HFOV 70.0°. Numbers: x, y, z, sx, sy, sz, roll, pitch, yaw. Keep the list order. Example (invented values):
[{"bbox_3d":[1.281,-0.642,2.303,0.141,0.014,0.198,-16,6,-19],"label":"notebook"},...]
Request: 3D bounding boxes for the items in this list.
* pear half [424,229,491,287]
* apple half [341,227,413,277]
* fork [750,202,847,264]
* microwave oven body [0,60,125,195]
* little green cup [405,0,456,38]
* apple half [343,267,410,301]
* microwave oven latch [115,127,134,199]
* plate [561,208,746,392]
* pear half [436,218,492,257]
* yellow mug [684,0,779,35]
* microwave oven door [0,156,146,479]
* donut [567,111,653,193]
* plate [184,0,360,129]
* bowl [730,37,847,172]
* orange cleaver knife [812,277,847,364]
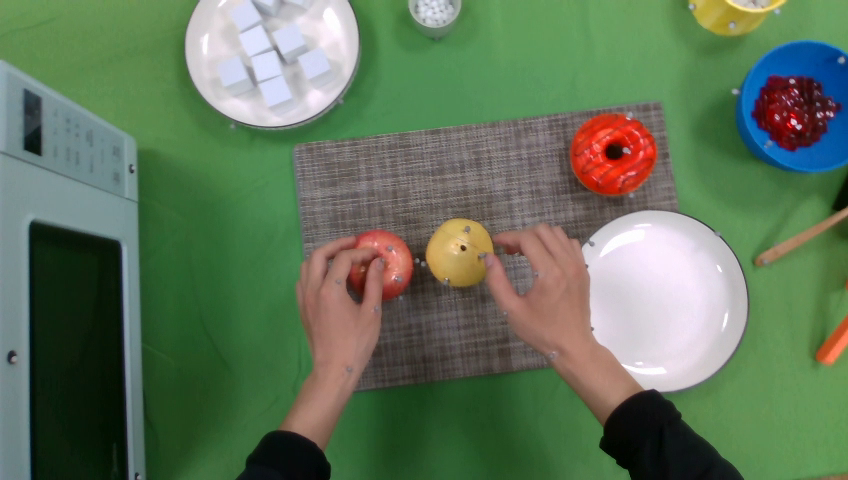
[{"bbox_3d":[0.033,0.023,0.667,0.076,0.110,0.056,22,83,7],"label":"pear half"},{"bbox_3d":[-0.055,0.012,0.687,0.081,0.075,0.053,-10,82,8],"label":"apple half"},{"bbox_3d":[0.468,-0.031,0.686,0.207,0.018,0.028,-36,92,17],"label":"fork"},{"bbox_3d":[-0.489,0.088,0.587,0.326,0.260,0.440,-4,85,-1],"label":"microwave oven body"},{"bbox_3d":[0.009,-0.278,0.735,0.061,0.039,0.061,0,84,1],"label":"little green cup"},{"bbox_3d":[-0.050,0.052,0.682,0.081,0.081,0.032,-10,79,-1],"label":"apple half"},{"bbox_3d":[-0.353,-0.088,0.699,0.030,0.029,0.079,-3,85,-1],"label":"microwave oven latch"},{"bbox_3d":[0.260,0.068,0.698,0.209,0.038,0.208,0,85,0],"label":"plate"},{"bbox_3d":[0.049,-0.007,0.680,0.070,0.088,0.031,22,84,7],"label":"pear half"},{"bbox_3d":[0.363,-0.318,0.724,0.100,0.064,0.130,-39,84,-3],"label":"yellow mug"},{"bbox_3d":[-0.341,0.119,0.578,0.039,0.244,0.355,-5,84,0],"label":"microwave oven door"},{"bbox_3d":[0.217,-0.103,0.711,0.099,0.048,0.099,0,85,3],"label":"donut"},{"bbox_3d":[-0.179,-0.232,0.731,0.208,0.039,0.207,0,84,0],"label":"plate"},{"bbox_3d":[0.419,-0.146,0.702,0.151,0.077,0.151,0,85,0],"label":"bowl"},{"bbox_3d":[0.503,0.047,0.682,0.012,0.077,0.212,25,114,1],"label":"orange cleaver knife"}]
